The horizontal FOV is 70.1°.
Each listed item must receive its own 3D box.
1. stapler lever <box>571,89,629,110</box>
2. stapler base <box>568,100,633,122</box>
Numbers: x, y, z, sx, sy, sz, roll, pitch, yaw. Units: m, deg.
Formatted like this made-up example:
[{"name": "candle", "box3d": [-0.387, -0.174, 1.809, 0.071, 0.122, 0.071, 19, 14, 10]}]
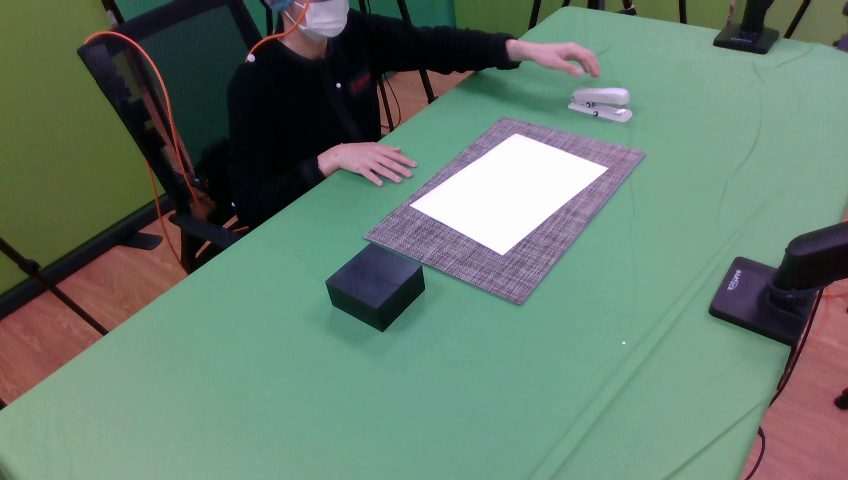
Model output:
[{"name": "stapler lever", "box3d": [0.357, -0.292, 1.222, 0.117, 0.040, 0.027, 25, 48, 33]}, {"name": "stapler base", "box3d": [0.361, -0.273, 1.237, 0.129, 0.024, 0.041, 24, 48, 34]}]
